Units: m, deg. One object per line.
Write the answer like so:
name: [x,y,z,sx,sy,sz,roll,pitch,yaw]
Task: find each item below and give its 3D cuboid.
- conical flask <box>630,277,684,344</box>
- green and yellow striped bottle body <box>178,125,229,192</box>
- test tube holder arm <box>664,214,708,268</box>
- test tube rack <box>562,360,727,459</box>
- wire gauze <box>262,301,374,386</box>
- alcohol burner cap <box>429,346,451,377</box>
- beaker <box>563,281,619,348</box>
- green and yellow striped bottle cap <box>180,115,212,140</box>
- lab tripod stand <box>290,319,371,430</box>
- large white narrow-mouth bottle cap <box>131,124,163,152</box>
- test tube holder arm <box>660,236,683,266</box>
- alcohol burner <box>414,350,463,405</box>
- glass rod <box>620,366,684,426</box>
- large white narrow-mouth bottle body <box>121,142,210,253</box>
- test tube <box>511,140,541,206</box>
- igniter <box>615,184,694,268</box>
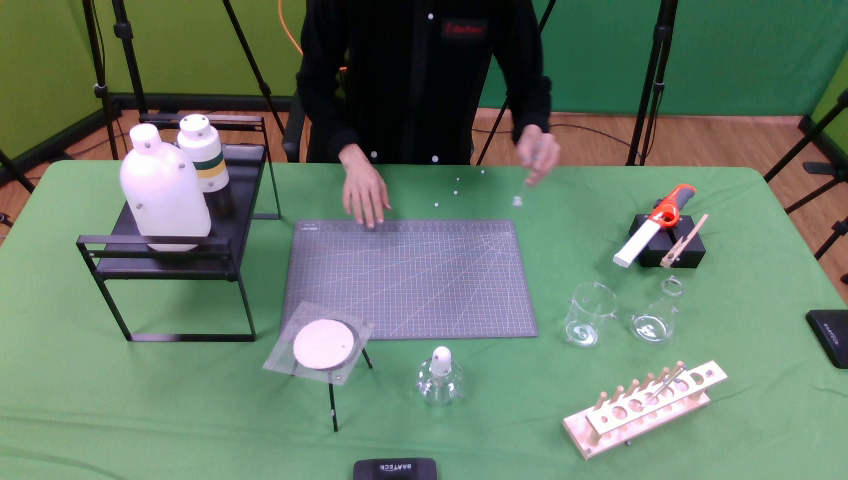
conical flask: [0.408,0.117,1.045,0.075,0.122,0.075,2,46,-2]
green and yellow striped bottle body: [-0.361,-0.142,0.989,0.063,0.120,0.063,2,46,-2]
test tube holder arm: [0.507,-0.001,1.170,0.013,0.015,0.178,35,54,25]
test tube rack: [0.341,0.247,0.940,0.243,0.085,0.066,-16,49,-18]
wire gauze: [-0.150,0.148,0.873,0.121,0.011,0.124,14,46,12]
alcohol burner cap: [0.026,0.180,0.912,0.034,0.048,0.033,1,47,-1]
beaker: [0.283,0.129,1.041,0.074,0.101,0.083,11,46,6]
green and yellow striped bottle cap: [-0.358,-0.177,0.951,0.045,0.020,0.045,2,45,-1]
lab tripod stand: [-0.146,0.193,0.923,0.148,0.132,0.147,1,47,-1]
large white narrow-mouth bottle cap: [-0.371,-0.138,0.812,0.038,0.024,0.037,3,46,-3]
test tube holder arm: [0.473,0.020,1.149,0.010,0.015,0.088,36,54,26]
alcohol burner: [0.023,0.205,0.939,0.078,0.120,0.077,1,48,-1]
glass rod: [0.323,0.227,0.866,0.008,0.200,0.008,5,51,-7]
large white narrow-mouth bottle body: [-0.378,-0.077,0.875,0.102,0.195,0.101,3,46,-3]
test tube: [0.171,-0.110,1.025,0.017,0.151,0.017,5,51,-6]
igniter: [0.459,-0.035,1.197,0.057,0.025,0.276,32,55,27]
